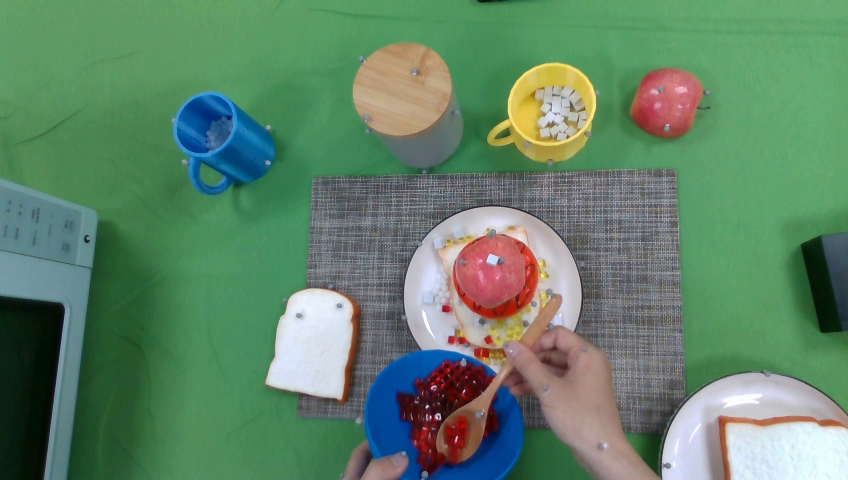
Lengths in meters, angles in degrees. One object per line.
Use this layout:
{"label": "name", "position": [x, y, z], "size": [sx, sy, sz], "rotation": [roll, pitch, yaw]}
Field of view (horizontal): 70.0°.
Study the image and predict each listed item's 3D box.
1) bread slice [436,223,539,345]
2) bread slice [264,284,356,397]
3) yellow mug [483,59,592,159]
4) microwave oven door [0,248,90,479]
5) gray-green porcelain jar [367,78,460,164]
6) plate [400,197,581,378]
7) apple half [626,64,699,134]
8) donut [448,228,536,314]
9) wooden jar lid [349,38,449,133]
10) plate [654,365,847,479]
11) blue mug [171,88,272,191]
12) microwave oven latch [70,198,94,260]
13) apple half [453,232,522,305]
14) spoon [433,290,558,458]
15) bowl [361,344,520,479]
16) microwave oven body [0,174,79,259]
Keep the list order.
{"label": "bread slice", "position": [0.082, 0.054, 0.709], "size": [0.107, 0.018, 0.133], "rotation": [-17, 76, 7]}
{"label": "bread slice", "position": [-0.138, 0.119, 0.745], "size": [0.104, 0.019, 0.131], "rotation": [7, 83, 10]}
{"label": "yellow mug", "position": [0.132, -0.148, 0.720], "size": [0.131, 0.064, 0.099], "rotation": [-23, 77, 7]}
{"label": "microwave oven door", "position": [-0.485, 0.184, 0.663], "size": [0.039, 0.245, 0.354], "rotation": [0, 80, 11]}
{"label": "gray-green porcelain jar", "position": [-0.013, -0.153, 0.716], "size": [0.105, 0.127, 0.105], "rotation": [-2, 80, 10]}
{"label": "plate", "position": [0.076, 0.055, 0.707], "size": [0.207, 0.039, 0.207], "rotation": [-2, 81, 10]}
{"label": "apple half", "position": [0.279, -0.171, 0.705], "size": [0.074, 0.053, 0.080], "rotation": [23, 86, 16]}
{"label": "donut", "position": [0.076, 0.035, 0.681], "size": [0.099, 0.048, 0.098], "rotation": [-2, 81, 11]}
{"label": "wooden jar lid", "position": [-0.026, -0.164, 0.654], "size": [0.108, 0.021, 0.108], "rotation": [-2, 78, 7]}
{"label": "plate", "position": [0.347, 0.235, 0.633], "size": [0.209, 0.038, 0.208], "rotation": [-2, 80, 10]}
{"label": "blue mug", "position": [-0.258, -0.117, 0.762], "size": [0.082, 0.106, 0.116], "rotation": [21, 85, 13]}
{"label": "microwave oven latch", "position": [-0.458, -0.014, 0.796], "size": [0.030, 0.029, 0.079], "rotation": [4, 82, 10]}
{"label": "apple half", "position": [0.067, 0.028, 0.646], "size": [0.081, 0.033, 0.081], "rotation": [-4, 75, 16]}
{"label": "spoon", "position": [0.068, 0.127, 0.568], "size": [0.041, 0.022, 0.194], "rotation": [39, 107, 24]}
{"label": "bowl", "position": [0.011, 0.184, 0.586], "size": [0.152, 0.077, 0.150], "rotation": [7, 43, -6]}
{"label": "microwave oven body", "position": [-0.626, 0.143, 0.700], "size": [0.325, 0.261, 0.440], "rotation": [0, 81, 10]}
